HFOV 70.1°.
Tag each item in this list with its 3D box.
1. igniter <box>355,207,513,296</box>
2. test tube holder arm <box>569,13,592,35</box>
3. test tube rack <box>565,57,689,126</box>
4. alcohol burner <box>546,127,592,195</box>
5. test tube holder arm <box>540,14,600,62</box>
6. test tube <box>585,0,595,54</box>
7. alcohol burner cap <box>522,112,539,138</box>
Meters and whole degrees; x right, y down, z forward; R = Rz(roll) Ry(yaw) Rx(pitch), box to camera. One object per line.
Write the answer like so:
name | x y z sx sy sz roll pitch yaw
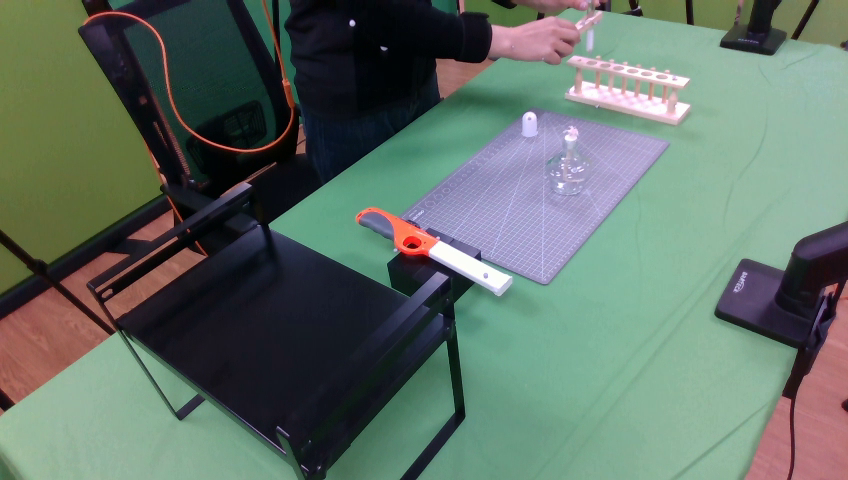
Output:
igniter | 0.006 0.010 0.885 0.274 0.025 0.057 27 53 30
test tube holder arm | 0.300 -0.409 1.158 0.010 0.015 0.088 19 52 29
test tube rack | 0.412 -0.311 1.230 0.240 0.085 0.067 23 49 32
alcohol burner | 0.246 -0.137 1.024 0.078 0.119 0.077 -4 38 4
test tube holder arm | 0.276 -0.380 1.134 0.013 0.015 0.179 29 58 36
test tube | 0.318 -0.425 1.161 0.017 0.151 0.017 -6 48 8
alcohol burner cap | 0.210 -0.230 1.195 0.034 0.048 0.033 -6 41 6
